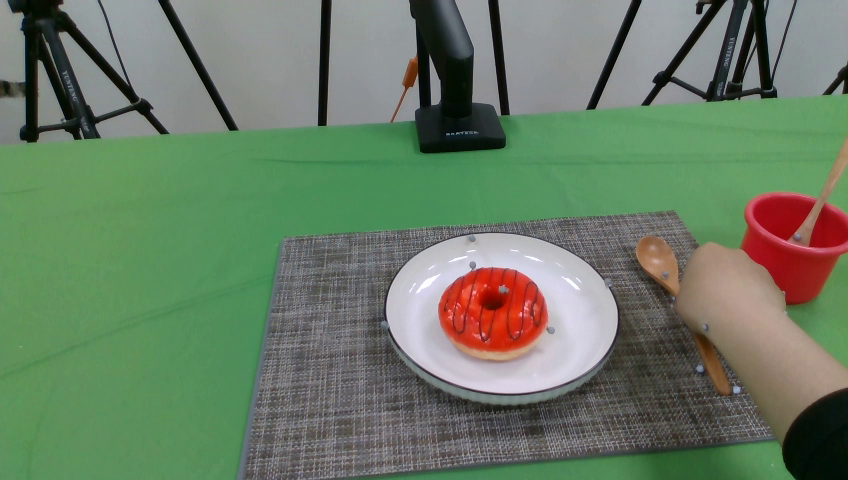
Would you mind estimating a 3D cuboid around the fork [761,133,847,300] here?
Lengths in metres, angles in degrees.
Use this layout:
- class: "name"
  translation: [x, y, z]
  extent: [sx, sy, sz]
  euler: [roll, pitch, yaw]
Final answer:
- class: "fork"
  translation: [0.385, -0.034, 0.592]
  extent: [0.028, 0.019, 0.207]
  euler: [28, 89, 31]

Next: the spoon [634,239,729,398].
- class: "spoon"
  translation: [0.239, 0.064, 0.565]
  extent: [0.042, 0.022, 0.192]
  euler: [4, 37, -6]

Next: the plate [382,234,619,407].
- class: "plate"
  translation: [0.068, 0.071, 0.550]
  extent: [0.209, 0.038, 0.207]
  euler: [-1, 38, 1]

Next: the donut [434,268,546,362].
- class: "donut"
  translation: [0.059, 0.066, 0.539]
  extent: [0.099, 0.049, 0.098]
  euler: [-2, 41, 2]
